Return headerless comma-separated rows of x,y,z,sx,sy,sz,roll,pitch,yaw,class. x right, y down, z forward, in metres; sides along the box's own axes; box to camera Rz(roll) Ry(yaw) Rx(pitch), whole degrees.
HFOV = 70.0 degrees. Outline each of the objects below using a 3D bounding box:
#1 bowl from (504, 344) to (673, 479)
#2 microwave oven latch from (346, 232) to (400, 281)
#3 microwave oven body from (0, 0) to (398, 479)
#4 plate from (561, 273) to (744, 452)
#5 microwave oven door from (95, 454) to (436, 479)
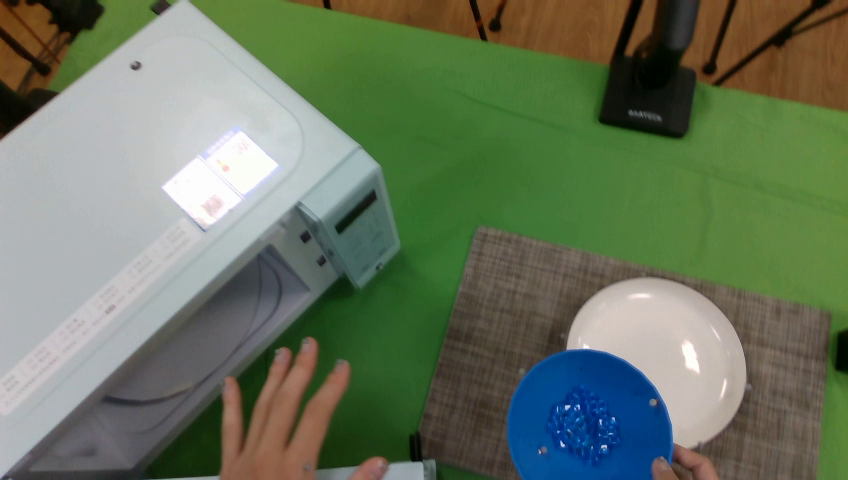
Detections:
0.150,0.182,0.586,0.151,0.077,0.150,-1,71,2,bowl
-0.065,0.014,0.764,0.030,0.030,0.079,43,78,15,microwave oven latch
-0.299,0.013,0.673,0.324,0.262,0.441,41,78,15,microwave oven body
0.265,0.143,0.718,0.207,0.039,0.206,-1,71,2,plate
-0.170,0.237,0.583,0.356,0.245,0.039,-5,70,1,microwave oven door
